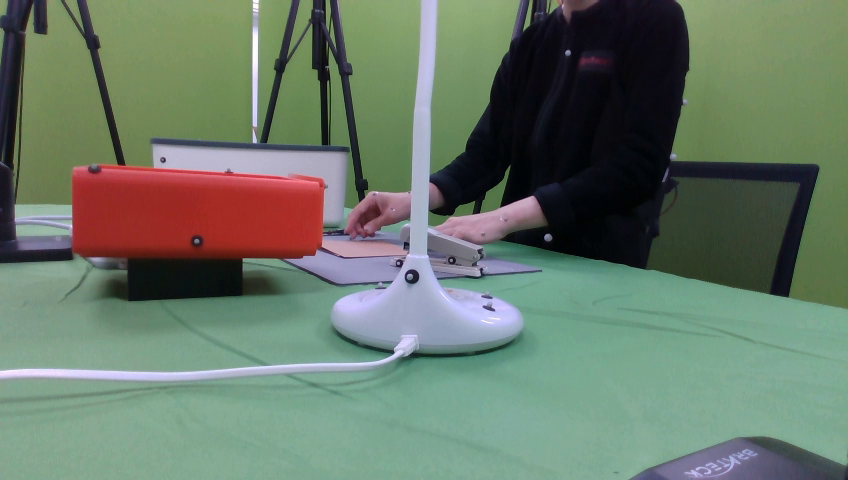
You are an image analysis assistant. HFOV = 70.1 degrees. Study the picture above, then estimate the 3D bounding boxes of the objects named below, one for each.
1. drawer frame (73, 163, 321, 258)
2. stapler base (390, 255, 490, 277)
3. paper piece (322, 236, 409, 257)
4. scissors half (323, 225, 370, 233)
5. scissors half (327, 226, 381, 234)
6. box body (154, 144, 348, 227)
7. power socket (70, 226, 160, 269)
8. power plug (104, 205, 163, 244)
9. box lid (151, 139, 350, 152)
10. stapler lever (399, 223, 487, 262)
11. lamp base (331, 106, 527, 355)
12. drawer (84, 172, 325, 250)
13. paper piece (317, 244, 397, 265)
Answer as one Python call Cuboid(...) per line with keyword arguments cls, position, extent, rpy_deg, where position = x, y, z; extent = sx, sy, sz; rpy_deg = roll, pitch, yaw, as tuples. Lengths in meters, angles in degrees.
Cuboid(cls="drawer frame", position=(-0.232, -0.034, 0.635), extent=(0.214, 0.082, 0.201), rpy_deg=(1, 8, -23))
Cuboid(cls="stapler base", position=(0.020, 0.027, 0.779), extent=(0.130, 0.024, 0.041), rpy_deg=(7, 11, 25))
Cuboid(cls="paper piece", position=(-0.091, 0.010, 0.920), extent=(0.139, 0.008, 0.135), rpy_deg=(2, 12, -34))
Cuboid(cls="scissors half", position=(-0.167, -0.017, 1.093), extent=(0.040, 0.013, 0.176), rpy_deg=(9, 10, 39))
Cuboid(cls="scissors half", position=(-0.153, -0.015, 1.079), extent=(0.176, 0.013, 0.040), rpy_deg=(-5, 5, -33))
Cuboid(cls="box body", position=(-0.357, -0.119, 1.264), extent=(0.365, 0.160, 0.253), rpy_deg=(0, 7, -18))
Cuboid(cls="power socket", position=(-0.409, 0.004, 0.793), extent=(0.072, 0.032, 0.225), rpy_deg=(-2, 8, -38))
Cuboid(cls="power plug", position=(-0.390, -0.021, 0.815), extent=(0.073, 0.052, 0.035), rpy_deg=(-1, 8, -28))
Cuboid(cls="box lid", position=(-0.352, -0.191, 1.256), extent=(0.373, 0.015, 0.262), rpy_deg=(0, 8, -18))
Cuboid(cls="stapler lever", position=(0.022, 0.003, 0.776), extent=(0.117, 0.040, 0.027), rpy_deg=(7, 11, 25))
Cuboid(cls="lamp base", position=(0.006, -0.012, 0.478), extent=(0.161, 0.180, 0.179), rpy_deg=(2, 10, 2))
Cuboid(cls="drawer", position=(-0.227, -0.036, 0.638), extent=(0.213, 0.073, 0.193), rpy_deg=(-1, 9, -23))
Cuboid(cls="paper piece", position=(-0.101, 0.018, 0.917), extent=(0.136, 0.004, 0.135), rpy_deg=(2, 13, -22))
